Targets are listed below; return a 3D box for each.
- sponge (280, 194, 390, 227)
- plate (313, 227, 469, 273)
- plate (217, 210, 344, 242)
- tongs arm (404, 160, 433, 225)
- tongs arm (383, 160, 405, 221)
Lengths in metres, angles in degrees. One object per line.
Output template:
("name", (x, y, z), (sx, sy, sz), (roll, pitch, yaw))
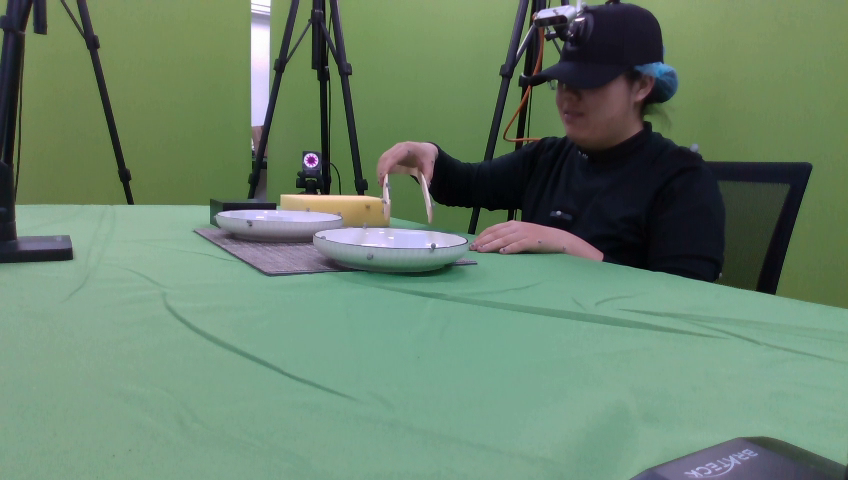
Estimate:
("sponge", (-0.188, -0.063, 1.291), (0.208, 0.061, 0.117), (-2, 9, -35))
("plate", (-0.044, 0.012, 0.807), (0.209, 0.038, 0.209), (2, 7, 0))
("plate", (-0.241, -0.024, 1.026), (0.208, 0.039, 0.207), (3, 7, 0))
("tongs arm", (-0.009, -0.089, 1.029), (0.028, 0.028, 0.386), (0, 17, -5))
("tongs arm", (-0.046, -0.093, 1.025), (0.051, 0.026, 0.384), (3, 17, -7))
